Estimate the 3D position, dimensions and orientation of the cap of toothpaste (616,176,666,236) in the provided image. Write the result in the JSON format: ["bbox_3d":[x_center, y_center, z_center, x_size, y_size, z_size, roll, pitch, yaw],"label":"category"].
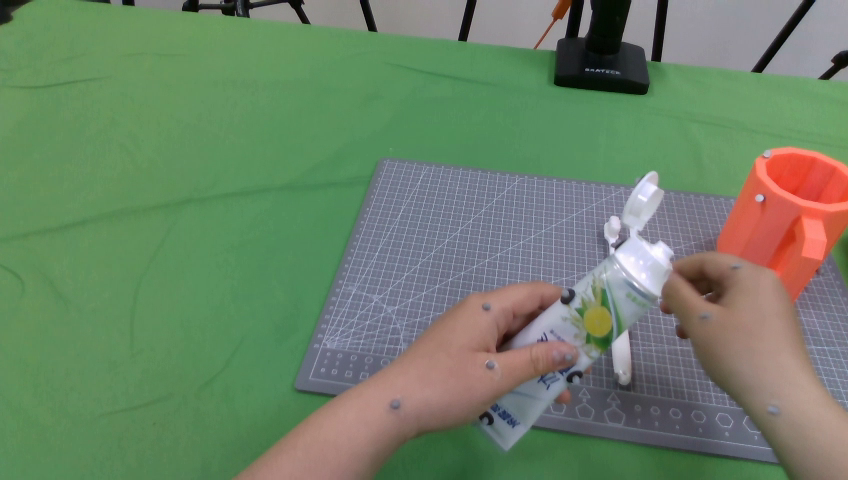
[{"bbox_3d":[0.124,-0.019,0.341,0.037,0.037,0.011,-26,44,-27],"label":"cap of toothpaste"}]

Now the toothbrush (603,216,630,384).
[{"bbox_3d":[0.165,0.043,0.518,0.014,0.017,0.180,16,46,-2],"label":"toothbrush"}]

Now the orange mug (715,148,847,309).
[{"bbox_3d":[0.310,-0.006,0.518,0.083,0.101,0.125,13,41,12],"label":"orange mug"}]

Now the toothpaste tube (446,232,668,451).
[{"bbox_3d":[0.080,0.058,0.362,0.055,0.165,0.034,45,22,14],"label":"toothpaste tube"}]
